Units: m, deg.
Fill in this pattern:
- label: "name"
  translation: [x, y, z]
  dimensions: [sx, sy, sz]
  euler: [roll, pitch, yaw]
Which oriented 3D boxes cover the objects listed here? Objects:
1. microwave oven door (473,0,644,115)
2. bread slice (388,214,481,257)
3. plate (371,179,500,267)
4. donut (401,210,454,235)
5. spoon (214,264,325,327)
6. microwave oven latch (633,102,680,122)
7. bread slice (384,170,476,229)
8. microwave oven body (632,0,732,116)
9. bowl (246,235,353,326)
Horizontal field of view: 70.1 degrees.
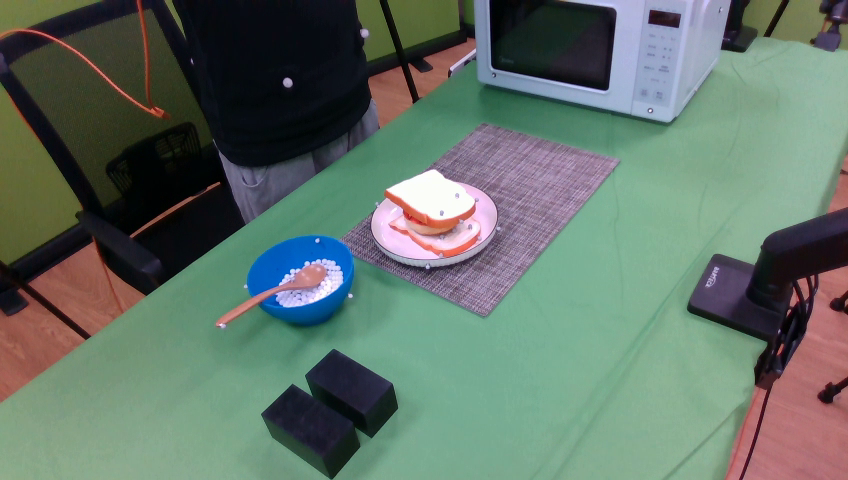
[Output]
- label: "microwave oven door"
  translation: [0.257, -0.396, 1.199]
  dimensions: [0.353, 0.245, 0.039]
  euler: [21, 48, 29]
- label: "bread slice"
  translation: [0.026, -0.023, 0.973]
  dimensions: [0.107, 0.018, 0.133]
  euler: [-36, 49, -28]
- label: "plate"
  translation: [0.020, -0.025, 0.977]
  dimensions: [0.207, 0.039, 0.206]
  euler: [-4, 40, 4]
- label: "donut"
  translation: [0.013, -0.047, 0.957]
  dimensions: [0.099, 0.048, 0.098]
  euler: [-7, 40, 6]
- label: "spoon"
  translation: [-0.207, 0.073, 0.821]
  dimensions: [0.041, 0.021, 0.195]
  euler: [23, 27, 26]
- label: "microwave oven latch"
  translation: [0.444, -0.249, 1.157]
  dimensions: [0.078, 0.029, 0.030]
  euler: [21, 49, 30]
- label: "bread slice"
  translation: [0.017, -0.064, 0.935]
  dimensions: [0.105, 0.019, 0.130]
  euler: [-27, 45, -30]
- label: "microwave oven body"
  translation: [0.377, -0.462, 1.267]
  dimensions: [0.438, 0.261, 0.327]
  euler: [21, 48, 30]
- label: "bowl"
  translation: [-0.170, 0.069, 0.868]
  dimensions: [0.151, 0.077, 0.150]
  euler: [-4, 41, 4]
